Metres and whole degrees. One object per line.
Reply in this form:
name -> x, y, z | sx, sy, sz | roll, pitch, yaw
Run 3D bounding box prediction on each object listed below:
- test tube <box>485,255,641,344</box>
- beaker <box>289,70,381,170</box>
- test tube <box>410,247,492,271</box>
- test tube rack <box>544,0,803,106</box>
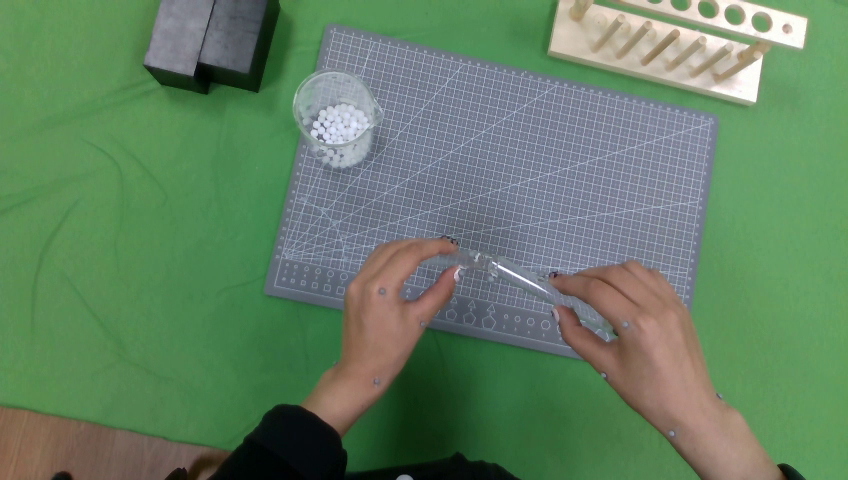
test tube -> 0.114, 0.050, 0.486 | 0.151, 0.017, 0.017 | 26, 81, -16
beaker -> -0.085, -0.113, 0.598 | 0.084, 0.100, 0.074 | 5, 83, -5
test tube -> 0.019, 0.016, 0.540 | 0.017, 0.149, 0.017 | -1, 91, -22
test tube rack -> 0.263, -0.217, 0.652 | 0.243, 0.085, 0.066 | 13, 82, -4
